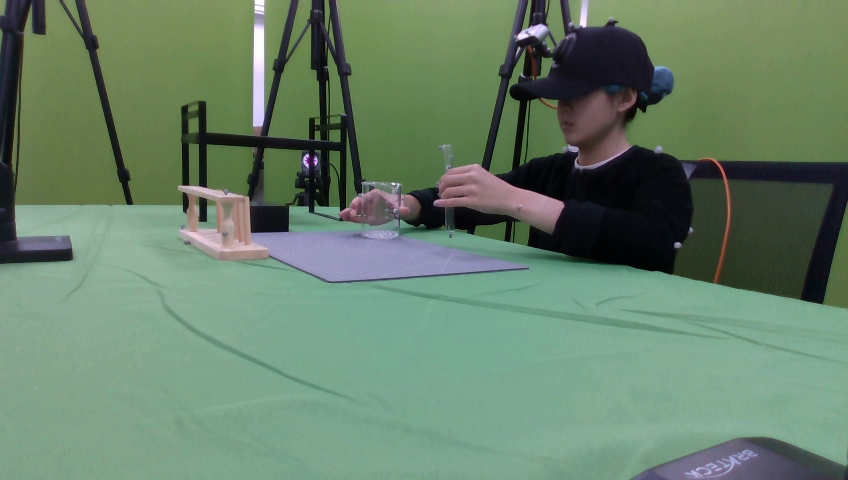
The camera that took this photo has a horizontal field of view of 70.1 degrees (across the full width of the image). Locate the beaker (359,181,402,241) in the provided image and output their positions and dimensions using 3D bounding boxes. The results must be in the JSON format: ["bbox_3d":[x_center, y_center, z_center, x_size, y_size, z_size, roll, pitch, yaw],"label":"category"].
[{"bbox_3d":[-0.076,-0.051,1.072,0.074,0.100,0.083,-4,11,-40],"label":"beaker"}]

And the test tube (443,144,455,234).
[{"bbox_3d":[0.042,-0.084,1.007,0.017,0.150,0.017,-2,7,1],"label":"test tube"}]

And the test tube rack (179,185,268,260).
[{"bbox_3d":[-0.303,-0.031,0.898,0.067,0.085,0.241,-2,9,-33],"label":"test tube rack"}]
